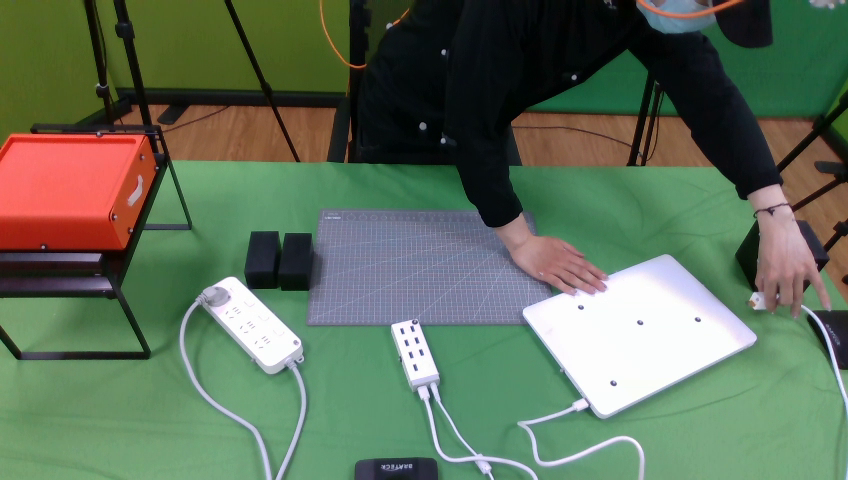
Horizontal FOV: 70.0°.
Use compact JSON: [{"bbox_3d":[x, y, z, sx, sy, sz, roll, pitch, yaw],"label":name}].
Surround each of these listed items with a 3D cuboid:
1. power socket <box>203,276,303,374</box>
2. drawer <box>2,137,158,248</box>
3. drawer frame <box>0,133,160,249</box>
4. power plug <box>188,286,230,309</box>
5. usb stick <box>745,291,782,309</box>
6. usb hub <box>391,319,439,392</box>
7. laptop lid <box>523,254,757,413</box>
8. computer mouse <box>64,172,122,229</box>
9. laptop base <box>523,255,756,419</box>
[{"bbox_3d":[-0.296,0.141,1.034,0.225,0.033,0.072,37,55,27],"label":"power socket"},{"bbox_3d":[-0.549,-0.078,0.944,0.212,0.073,0.193,0,47,-3],"label":"drawer"},{"bbox_3d":[-0.552,-0.078,0.942,0.214,0.083,0.200,-1,47,-4],"label":"drawer frame"},{"bbox_3d":[-0.370,0.103,1.039,0.072,0.053,0.035,-26,54,-23],"label":"power plug"},{"bbox_3d":[0.599,0.106,1.074,0.059,0.027,0.021,-3,32,-10],"label":"usb stick"},{"bbox_3d":[-0.016,0.191,1.013,0.049,0.025,0.124,-11,48,-15],"label":"usb hub"},{"bbox_3d":[0.380,0.148,1.073,0.357,0.013,0.240,-17,48,-19],"label":"laptop lid"},{"bbox_3d":[-0.521,-0.067,0.955,0.063,0.041,0.116,1,49,-9],"label":"computer mouse"},{"bbox_3d":[0.381,0.158,1.081,0.355,0.023,0.234,-18,48,-21],"label":"laptop base"}]
